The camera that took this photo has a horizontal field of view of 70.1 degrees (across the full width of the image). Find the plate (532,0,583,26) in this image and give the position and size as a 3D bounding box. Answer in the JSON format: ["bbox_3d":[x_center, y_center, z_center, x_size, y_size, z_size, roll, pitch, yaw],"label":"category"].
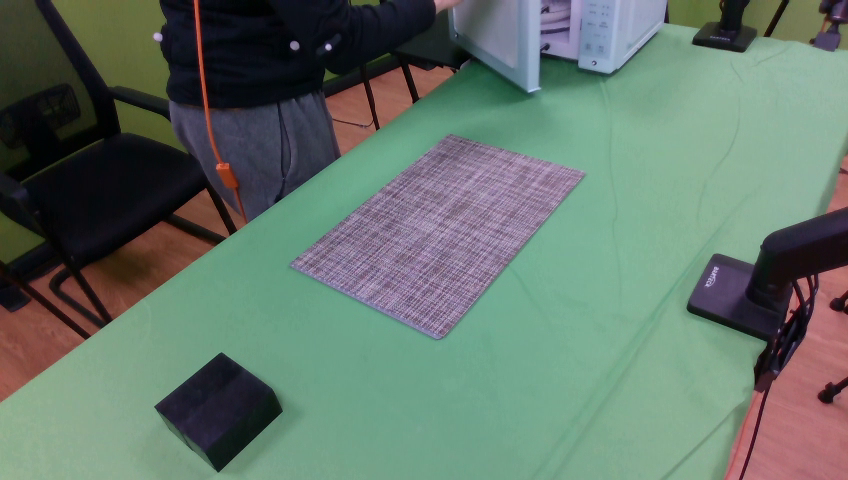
[{"bbox_3d":[0.287,-0.573,1.489,0.209,0.038,0.208,-5,40,4],"label":"plate"}]

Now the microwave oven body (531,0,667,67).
[{"bbox_3d":[0.325,-0.609,1.438,0.438,0.261,0.327,23,50,30],"label":"microwave oven body"}]

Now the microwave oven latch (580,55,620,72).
[{"bbox_3d":[0.386,-0.394,1.330,0.078,0.029,0.030,25,51,32],"label":"microwave oven latch"}]

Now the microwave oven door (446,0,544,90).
[{"bbox_3d":[0.148,-0.510,1.340,0.039,0.245,0.352,-24,44,-18],"label":"microwave oven door"}]
